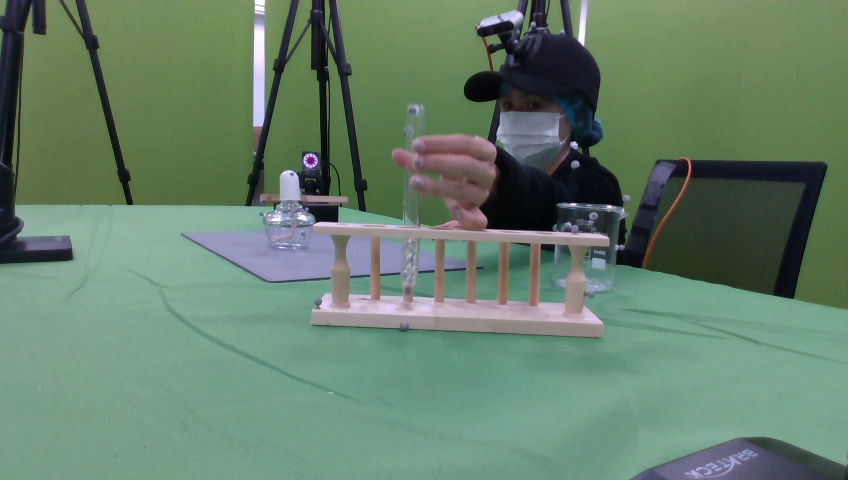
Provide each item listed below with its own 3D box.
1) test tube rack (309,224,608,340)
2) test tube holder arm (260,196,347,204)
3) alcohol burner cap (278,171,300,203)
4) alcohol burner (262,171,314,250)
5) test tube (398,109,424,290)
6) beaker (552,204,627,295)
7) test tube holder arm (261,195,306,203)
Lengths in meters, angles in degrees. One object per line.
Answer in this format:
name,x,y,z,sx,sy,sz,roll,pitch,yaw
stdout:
test tube rack,0.028,0.032,0.528,0.242,0.085,0.067,3,7,0
test tube holder arm,-0.239,-0.081,1.213,0.179,0.015,0.013,-1,0,-32
alcohol burner cap,-0.203,-0.080,0.909,0.034,0.048,0.034,0,3,0
alcohol burner,-0.205,-0.044,0.913,0.078,0.119,0.078,1,9,0
test tube,-0.011,-0.033,0.502,0.017,0.150,0.017,3,6,0
beaker,0.191,0.010,0.708,0.083,0.100,0.074,8,9,33
test tube holder arm,-0.275,-0.081,1.184,0.088,0.015,0.010,-1,0,-32
